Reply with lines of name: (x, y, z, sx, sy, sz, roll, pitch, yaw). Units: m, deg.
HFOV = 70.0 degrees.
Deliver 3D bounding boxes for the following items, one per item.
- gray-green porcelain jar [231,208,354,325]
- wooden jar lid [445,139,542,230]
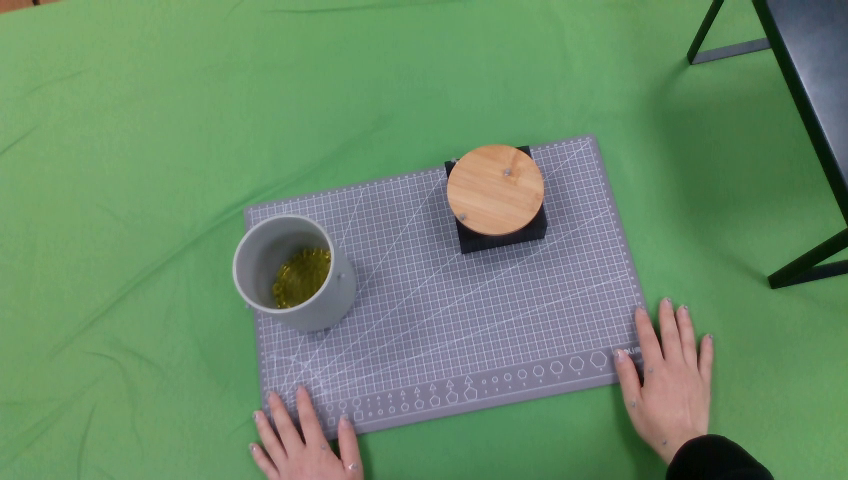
gray-green porcelain jar: (-0.137, 0.035, 0.667, 0.106, 0.127, 0.105, -1, 73, 5)
wooden jar lid: (0.078, -0.061, 0.679, 0.108, 0.021, 0.108, -2, 74, 6)
